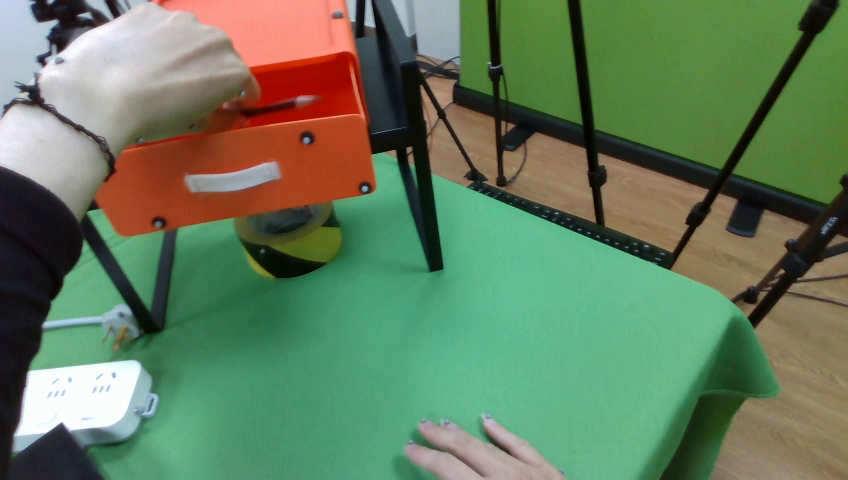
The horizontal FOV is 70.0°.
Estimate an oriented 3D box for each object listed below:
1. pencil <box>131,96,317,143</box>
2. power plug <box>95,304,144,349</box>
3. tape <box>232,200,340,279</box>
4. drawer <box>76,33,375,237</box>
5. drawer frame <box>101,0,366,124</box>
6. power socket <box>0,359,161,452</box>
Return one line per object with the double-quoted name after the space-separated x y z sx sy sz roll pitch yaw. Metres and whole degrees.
-0.161 -0.093 0.467 0.193 0.012 0.012 -4 41 26 "pencil"
-0.317 0.095 0.622 0.072 0.035 0.052 -34 29 29 "power plug"
-0.154 -0.015 0.686 0.117 0.053 0.115 -4 43 4 "tape"
-0.150 -0.108 0.502 0.194 0.074 0.209 -11 42 -3 "drawer"
-0.167 -0.170 0.568 0.202 0.083 0.211 -12 43 -3 "drawer frame"
-0.358 0.153 0.552 0.227 0.033 0.071 -6 42 2 "power socket"
